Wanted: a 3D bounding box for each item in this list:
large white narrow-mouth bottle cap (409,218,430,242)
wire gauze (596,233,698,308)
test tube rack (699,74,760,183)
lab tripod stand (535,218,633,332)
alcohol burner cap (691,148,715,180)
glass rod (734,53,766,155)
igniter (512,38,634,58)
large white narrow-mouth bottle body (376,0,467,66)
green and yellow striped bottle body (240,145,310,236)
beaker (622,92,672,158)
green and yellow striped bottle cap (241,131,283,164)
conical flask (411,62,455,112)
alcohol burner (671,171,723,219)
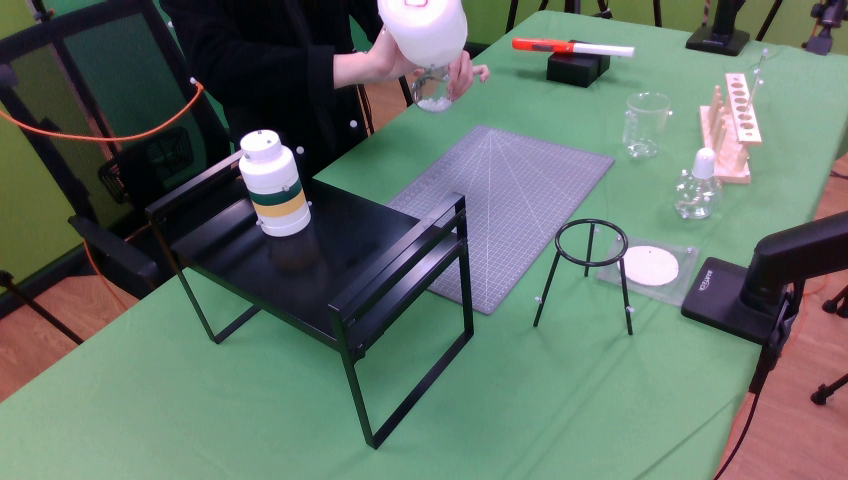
[{"bbox_3d":[-0.008,-0.017,0.999,0.038,0.024,0.037,-3,39,3],"label":"large white narrow-mouth bottle cap"},{"bbox_3d":[0.331,0.038,0.897,0.124,0.011,0.121,18,47,26],"label":"wire gauze"},{"bbox_3d":[0.547,-0.208,1.095,0.066,0.085,0.242,6,42,16],"label":"test tube rack"},{"bbox_3d":[0.215,0.050,0.803,0.148,0.132,0.147,-4,42,4],"label":"lab tripod stand"},{"bbox_3d":[0.432,-0.120,0.930,0.034,0.048,0.033,-6,48,8],"label":"alcohol burner cap"},{"bbox_3d":[0.540,-0.220,1.007,0.008,0.201,0.008,-5,46,6],"label":"glass rod"},{"bbox_3d":[0.328,-0.433,1.360,0.275,0.025,0.057,12,33,20],"label":"igniter"},{"bbox_3d":[0.007,-0.294,0.828,0.101,0.101,0.195,4,-3,12],"label":"large white narrow-mouth bottle body"},{"bbox_3d":[-0.181,-0.068,0.729,0.063,0.120,0.063,-4,40,4],"label":"green and yellow striped bottle body"},{"bbox_3d":[0.402,-0.210,1.106,0.074,0.101,0.083,-8,40,-2],"label":"beaker"},{"bbox_3d":[-0.187,-0.107,0.695,0.045,0.020,0.045,-4,39,4],"label":"green and yellow striped bottle cap"},{"bbox_3d":[0.019,-0.268,0.980,0.075,0.122,0.075,2,71,-4],"label":"conical flask"},{"bbox_3d":[0.434,-0.093,0.955,0.078,0.119,0.077,-3,43,3],"label":"alcohol burner"}]
